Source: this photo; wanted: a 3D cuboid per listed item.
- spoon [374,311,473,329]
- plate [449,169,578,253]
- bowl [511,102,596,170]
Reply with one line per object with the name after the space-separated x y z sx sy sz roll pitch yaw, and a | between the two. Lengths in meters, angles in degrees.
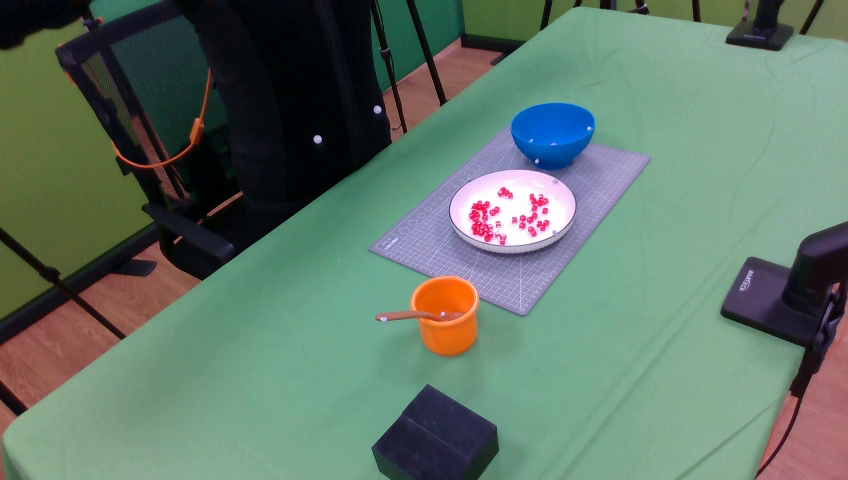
0.002 0.099 0.771 0.041 0.195 0.021 26 96 37 | spoon
0.146 -0.044 0.993 0.209 0.038 0.208 -5 40 5 | plate
0.236 -0.182 1.107 0.151 0.077 0.150 -6 40 5 | bowl
